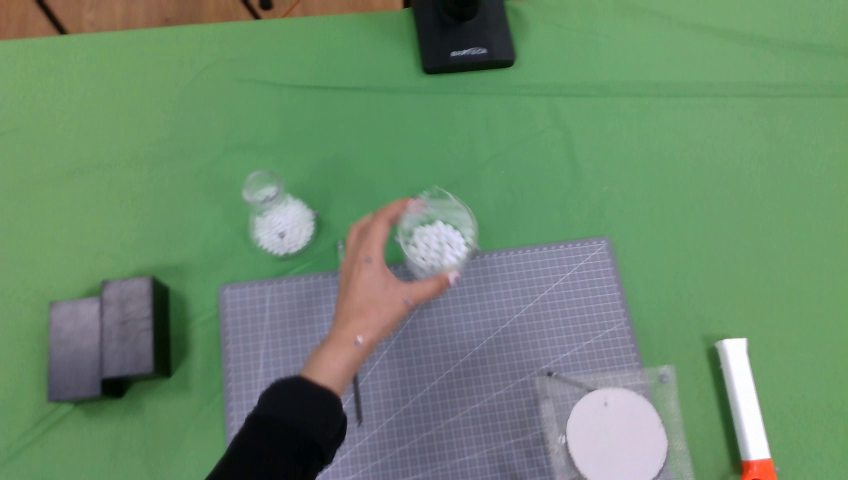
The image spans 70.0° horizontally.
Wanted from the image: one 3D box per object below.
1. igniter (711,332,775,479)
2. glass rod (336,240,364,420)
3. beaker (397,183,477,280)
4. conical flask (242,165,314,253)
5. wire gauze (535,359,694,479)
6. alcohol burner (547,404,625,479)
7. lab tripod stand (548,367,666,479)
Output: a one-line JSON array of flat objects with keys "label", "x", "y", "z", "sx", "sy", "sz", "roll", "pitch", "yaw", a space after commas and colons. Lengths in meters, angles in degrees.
[{"label": "igniter", "x": 0.347, "y": 0.236, "z": 0.637, "sx": 0.057, "sy": 0.025, "sz": 0.275, "roll": 0, "pitch": 73, "yaw": -15}, {"label": "glass rod", "x": -0.081, "y": 0.094, "z": 0.658, "sx": 0.008, "sy": 0.008, "sz": 0.198, "roll": -8, "pitch": 74, "yaw": -6}, {"label": "beaker", "x": 0.011, "y": -0.003, "z": 0.605, "sx": 0.074, "sy": 0.100, "sz": 0.083, "roll": -1, "pitch": 77, "yaw": -1}, {"label": "conical flask", "x": -0.159, "y": -0.037, "z": 0.637, "sx": 0.075, "sy": 0.122, "sz": 0.075, "roll": 1, "pitch": 72, "yaw": -3}, {"label": "wire gauze", "x": 0.164, "y": 0.168, "z": 0.516, "sx": 0.125, "sy": 0.011, "sz": 0.121, "roll": -5, "pitch": 75, "yaw": -4}, {"label": "alcohol burner", "x": 0.162, "y": 0.198, "z": 0.588, "sx": 0.078, "sy": 0.119, "sz": 0.077, "roll": 0, "pitch": 73, "yaw": -1}, {"label": "lab tripod stand", "x": 0.160, "y": 0.190, "z": 0.580, "sx": 0.148, "sy": 0.132, "sz": 0.147, "roll": 1, "pitch": 75, "yaw": -3}]
